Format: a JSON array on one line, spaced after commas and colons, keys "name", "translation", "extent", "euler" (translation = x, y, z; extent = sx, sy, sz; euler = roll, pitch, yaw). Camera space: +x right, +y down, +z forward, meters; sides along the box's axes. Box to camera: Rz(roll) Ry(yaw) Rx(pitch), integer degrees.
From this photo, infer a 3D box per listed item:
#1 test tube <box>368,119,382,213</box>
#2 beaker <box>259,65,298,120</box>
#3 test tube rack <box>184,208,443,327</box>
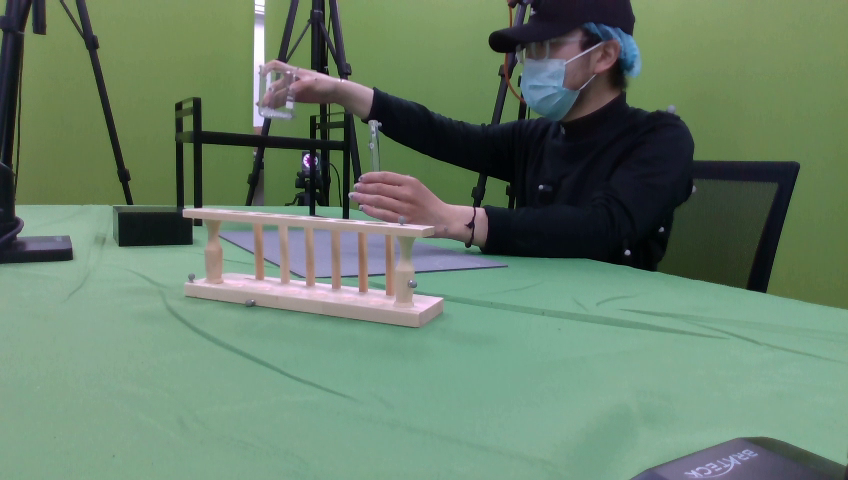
[{"name": "test tube", "translation": [-0.078, -0.117, 0.961], "extent": [0.017, 0.150, 0.017], "euler": [-3, -2, 0]}, {"name": "beaker", "translation": [-0.296, -0.296, 1.216], "extent": [0.074, 0.100, 0.084], "euler": [6, 7, 16]}, {"name": "test tube rack", "translation": [-0.106, 0.019, 0.570], "extent": [0.241, 0.085, 0.067], "euler": [5, 8, 20]}]
